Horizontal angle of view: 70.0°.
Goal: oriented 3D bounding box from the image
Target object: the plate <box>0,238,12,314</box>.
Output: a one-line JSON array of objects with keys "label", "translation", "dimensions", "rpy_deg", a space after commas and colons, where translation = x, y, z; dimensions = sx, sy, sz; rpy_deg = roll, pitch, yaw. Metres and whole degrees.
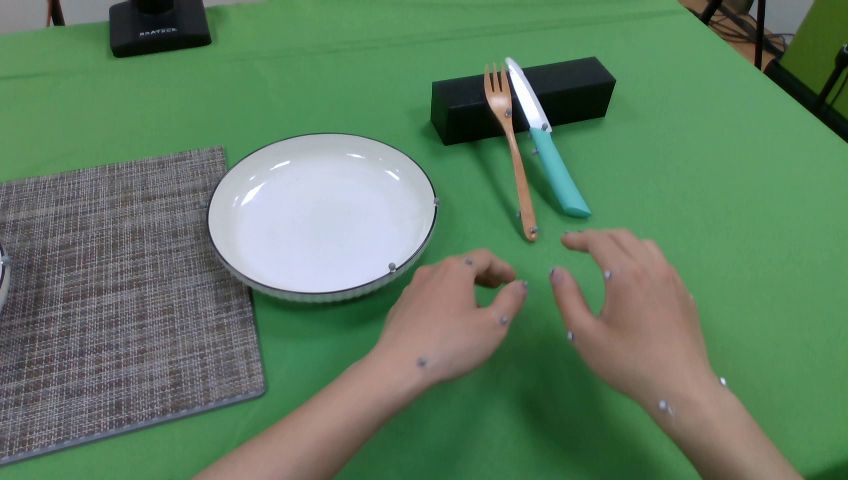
[{"label": "plate", "translation": [-0.434, 0.057, 0.471], "dimensions": [0.209, 0.038, 0.207], "rpy_deg": [2, 49, -2]}]

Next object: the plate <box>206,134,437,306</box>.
[{"label": "plate", "translation": [-0.092, -0.020, 0.567], "dimensions": [0.208, 0.039, 0.205], "rpy_deg": [2, 48, -2]}]

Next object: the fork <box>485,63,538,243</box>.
[{"label": "fork", "translation": [0.090, -0.093, 0.617], "dimensions": [0.028, 0.019, 0.205], "rpy_deg": [-3, 66, -13]}]

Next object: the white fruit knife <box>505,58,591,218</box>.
[{"label": "white fruit knife", "translation": [0.124, -0.112, 0.639], "dimensions": [0.027, 0.016, 0.205], "rpy_deg": [-12, 67, -16]}]
